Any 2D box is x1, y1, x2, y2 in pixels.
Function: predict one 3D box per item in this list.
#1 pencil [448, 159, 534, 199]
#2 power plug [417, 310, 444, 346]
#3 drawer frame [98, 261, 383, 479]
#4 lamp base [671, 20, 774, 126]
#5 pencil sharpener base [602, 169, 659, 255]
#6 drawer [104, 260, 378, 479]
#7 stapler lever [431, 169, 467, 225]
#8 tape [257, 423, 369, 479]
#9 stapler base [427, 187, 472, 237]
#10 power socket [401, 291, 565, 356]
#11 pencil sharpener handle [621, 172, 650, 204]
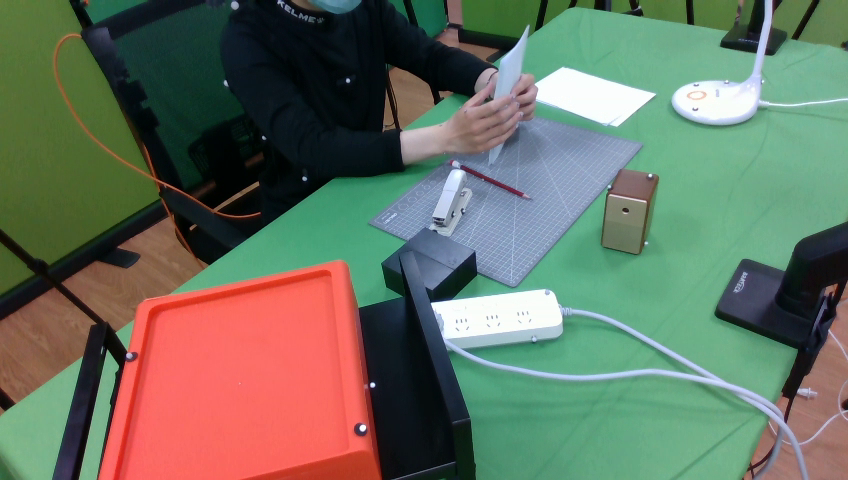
[{"bbox_3d":[0.118,-0.110,1.092,0.192,0.012,0.012,29,52,32],"label":"pencil"},{"bbox_3d":[0.006,0.122,0.785,0.035,0.053,0.072,-1,40,9],"label":"power plug"},{"bbox_3d":[-0.149,0.129,0.520,0.202,0.083,0.212,-12,41,-6],"label":"drawer frame"},{"bbox_3d":[0.581,-0.332,1.153,0.179,0.181,0.160,2,41,7],"label":"lamp base"},{"bbox_3d":[0.311,-0.044,0.913,0.061,0.107,0.077,14,45,24],"label":"pencil sharpener base"},{"bbox_3d":[-0.150,0.127,0.524,0.195,0.073,0.210,-11,41,-5],"label":"drawer"},{"bbox_3d":[0.043,-0.074,1.010,0.026,0.040,0.118,9,44,21],"label":"stapler lever"},{"bbox_3d":[-0.121,0.262,0.660,0.117,0.053,0.116,-4,40,4],"label":"tape"},{"bbox_3d":[0.045,-0.057,1.028,0.041,0.024,0.130,9,44,20],"label":"stapler base"},{"bbox_3d":[0.080,0.112,0.822,0.227,0.033,0.072,-6,41,0],"label":"power socket"},{"bbox_3d":[0.328,-0.086,0.940,0.036,0.068,0.030,30,49,7],"label":"pencil sharpener handle"}]
